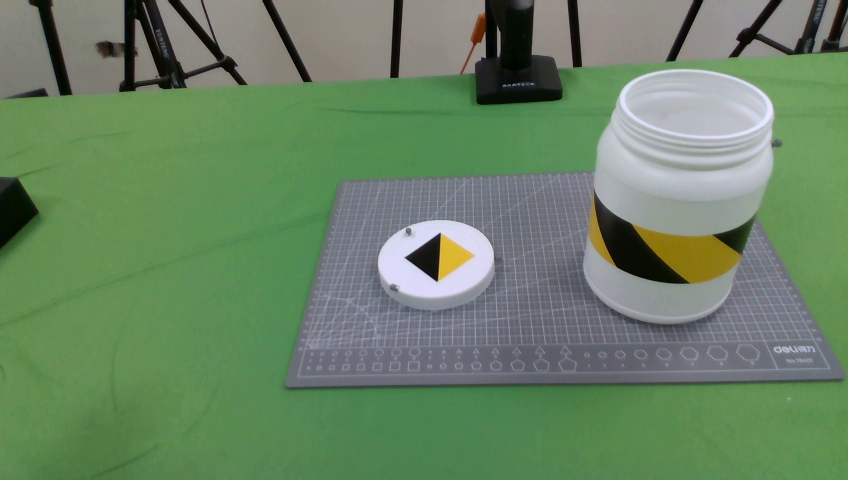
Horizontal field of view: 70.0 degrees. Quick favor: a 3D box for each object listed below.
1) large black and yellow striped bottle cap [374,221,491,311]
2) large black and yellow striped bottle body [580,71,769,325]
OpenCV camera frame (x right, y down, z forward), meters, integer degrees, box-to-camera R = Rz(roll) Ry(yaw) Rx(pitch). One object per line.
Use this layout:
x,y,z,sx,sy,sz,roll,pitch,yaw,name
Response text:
0.008,0.023,0.596,0.115,0.019,0.114,-2,41,2,large black and yellow striped bottle cap
0.204,-0.033,0.509,0.131,0.186,0.129,-3,41,3,large black and yellow striped bottle body
